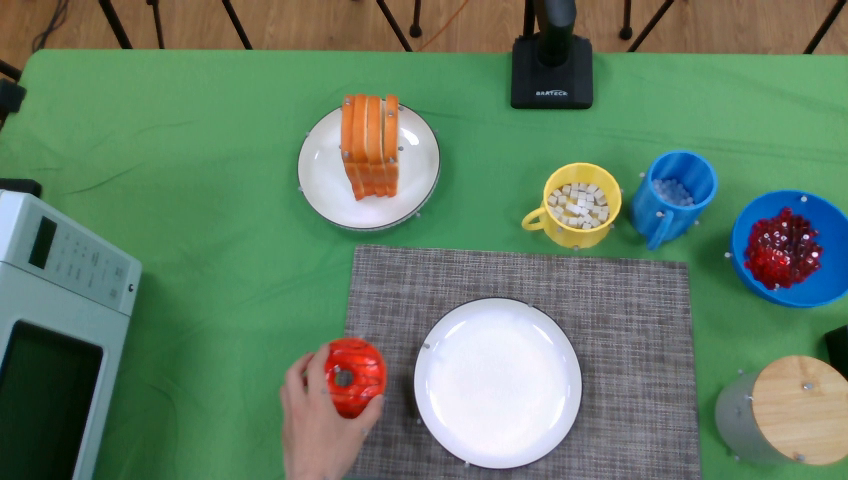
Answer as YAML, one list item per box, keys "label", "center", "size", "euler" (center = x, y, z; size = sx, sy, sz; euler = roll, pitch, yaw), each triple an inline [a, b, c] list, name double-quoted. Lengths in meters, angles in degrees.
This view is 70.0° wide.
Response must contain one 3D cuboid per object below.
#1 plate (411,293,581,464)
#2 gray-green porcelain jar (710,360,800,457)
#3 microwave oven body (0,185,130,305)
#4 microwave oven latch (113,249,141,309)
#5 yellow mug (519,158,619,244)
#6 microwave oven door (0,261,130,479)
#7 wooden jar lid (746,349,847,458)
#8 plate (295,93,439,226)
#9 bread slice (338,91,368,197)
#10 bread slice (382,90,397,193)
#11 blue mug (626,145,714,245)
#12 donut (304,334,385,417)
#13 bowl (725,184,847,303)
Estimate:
- label: "plate"
  center: [0.089, 0.170, 0.756]
  size: [0.209, 0.038, 0.207]
  euler: [-2, 70, 5]
- label: "gray-green porcelain jar"
  center: [0.391, 0.189, 0.679]
  size: [0.106, 0.127, 0.105]
  euler: [-1, 70, 4]
- label: "microwave oven body"
  center: [-0.582, 0.179, 0.693]
  size: [0.326, 0.262, 0.439]
  euler: [3, 71, 6]
- label: "microwave oven latch"
  center: [-0.412, 0.052, 0.825]
  size: [0.030, 0.030, 0.078]
  euler: [6, 72, 7]
- label: "yellow mug"
  center: [0.190, -0.046, 0.812]
  size: [0.131, 0.064, 0.099]
  euler: [-19, 69, 0]
- label: "microwave oven door"
  center: [-0.441, 0.224, 0.660]
  size: [0.039, 0.245, 0.353]
  euler: [2, 70, 7]
- label: "wooden jar lid"
  center: [0.384, 0.167, 0.621]
  size: [0.108, 0.021, 0.107]
  euler: [-1, 72, 3]
- label: "plate"
  center: [-0.081, -0.114, 0.876]
  size: [0.207, 0.039, 0.206]
  euler: [-1, 71, 4]
- label: "bread slice"
  center: [-0.096, -0.137, 0.826]
  size: [0.018, 0.135, 0.106]
  euler: [0, 66, 3]
- label: "bread slice"
  center: [-0.046, -0.136, 0.822]
  size: [0.019, 0.132, 0.104]
  euler: [1, 72, -3]
- label: "blue mug"
  center: [0.309, -0.047, 0.782]
  size: [0.082, 0.106, 0.116]
  euler: [22, 74, 13]
- label: "donut"
  center: [-0.096, 0.163, 0.730]
  size: [0.099, 0.048, 0.098]
  euler: [-1, 72, 4]
- label: "bowl"
  center: [0.448, 0.014, 0.762]
  size: [0.151, 0.077, 0.150]
  euler: [-2, 71, 5]
